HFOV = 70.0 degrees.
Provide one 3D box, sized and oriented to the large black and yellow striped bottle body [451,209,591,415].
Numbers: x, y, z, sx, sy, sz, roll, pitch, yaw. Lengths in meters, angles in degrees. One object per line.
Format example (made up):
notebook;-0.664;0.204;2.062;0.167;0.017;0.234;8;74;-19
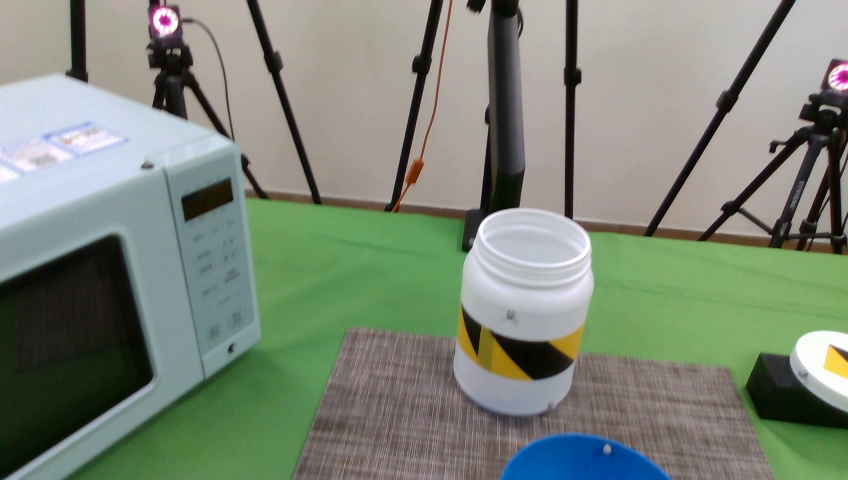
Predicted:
large black and yellow striped bottle body;0.099;0.073;0.628;0.131;0.185;0.129;3;32;-1

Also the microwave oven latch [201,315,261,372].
microwave oven latch;-0.213;0.108;0.655;0.030;0.030;0.079;23;37;28

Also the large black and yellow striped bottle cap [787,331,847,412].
large black and yellow striped bottle cap;0.443;0.137;0.629;0.115;0.019;0.114;2;30;-1

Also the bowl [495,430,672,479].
bowl;0.124;0.232;0.471;0.151;0.077;0.150;2;31;-1

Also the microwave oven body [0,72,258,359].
microwave oven body;-0.431;0.050;0.542;0.323;0.262;0.441;22;37;27

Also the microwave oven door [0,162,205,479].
microwave oven door;-0.333;0.110;0.443;0.039;0.245;0.355;21;36;27
